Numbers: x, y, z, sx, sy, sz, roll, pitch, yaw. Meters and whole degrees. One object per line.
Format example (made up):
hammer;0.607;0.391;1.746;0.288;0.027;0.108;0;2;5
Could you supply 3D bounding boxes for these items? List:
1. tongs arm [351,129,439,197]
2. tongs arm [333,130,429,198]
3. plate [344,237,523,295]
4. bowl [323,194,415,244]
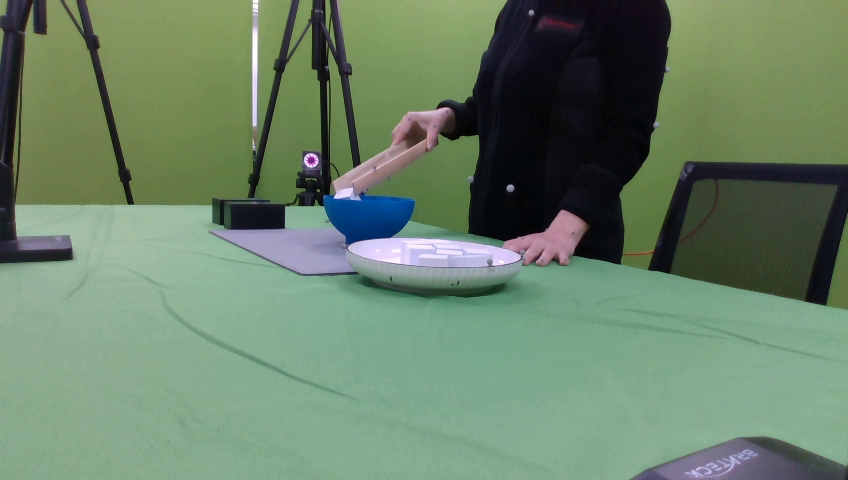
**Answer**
tongs arm;-0.050;-0.153;1.139;0.050;0.026;0.386;-3;21;29
tongs arm;-0.072;-0.152;1.149;0.028;0.028;0.388;-9;19;26
plate;0.010;0.030;0.707;0.208;0.039;0.207;3;8;0
bowl;-0.091;-0.032;0.986;0.151;0.077;0.151;2;7;0
